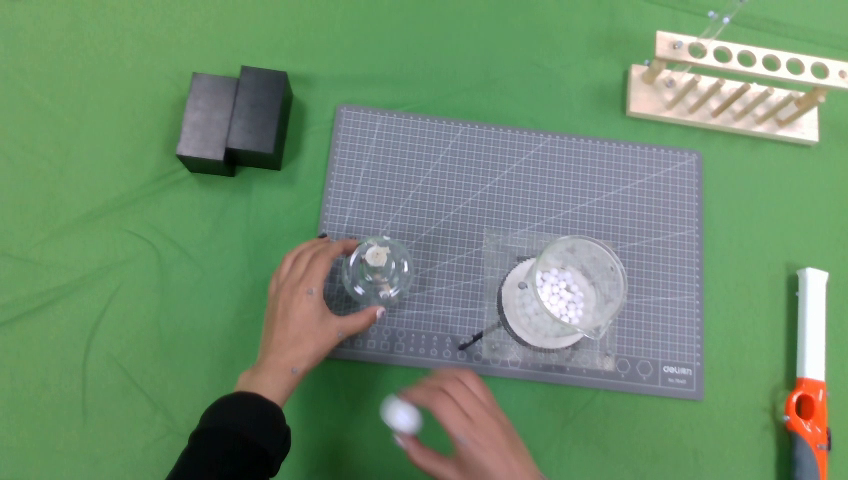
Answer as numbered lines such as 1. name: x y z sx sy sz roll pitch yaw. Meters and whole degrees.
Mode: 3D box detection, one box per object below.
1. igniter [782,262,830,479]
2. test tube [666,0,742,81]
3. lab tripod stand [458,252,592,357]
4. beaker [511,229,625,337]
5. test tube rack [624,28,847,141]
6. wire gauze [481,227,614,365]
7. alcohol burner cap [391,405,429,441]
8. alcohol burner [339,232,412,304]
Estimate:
1. igniter: 0.429 0.161 0.679 0.057 0.025 0.275 14 76 -11
2. test tube: 0.312 -0.226 0.683 0.017 0.151 0.017 2 72 -4
3. lab tripod stand: 0.106 0.068 0.619 0.148 0.132 0.147 1 75 -2
4. beaker: 0.116 0.044 0.508 0.074 0.100 0.083 -16 76 -7
5. test tube rack: 0.377 -0.184 0.729 0.242 0.085 0.066 8 75 -2
6. wire gauze: 0.113 0.049 0.556 0.125 0.011 0.121 5 74 -1
7. alcohol burner cap: -0.011 0.166 0.544 0.034 0.048 0.033 2 78 -9
8. alcohol burner: -0.050 0.024 0.627 0.078 0.119 0.077 1 73 -3
